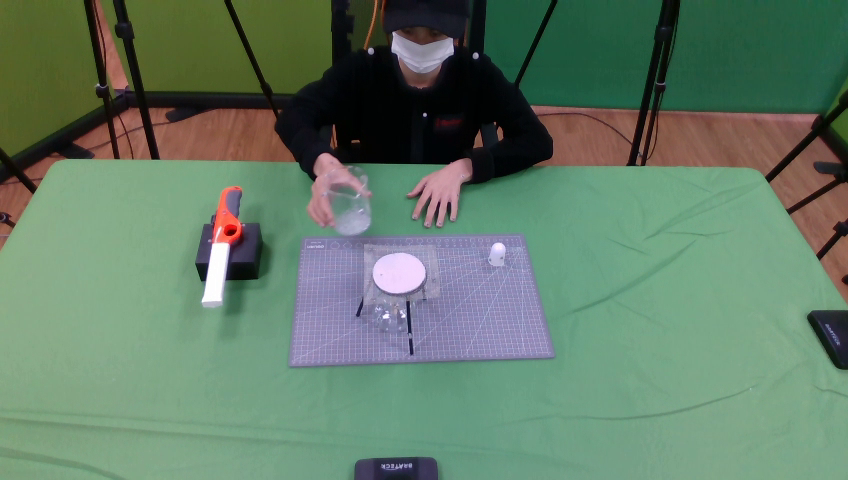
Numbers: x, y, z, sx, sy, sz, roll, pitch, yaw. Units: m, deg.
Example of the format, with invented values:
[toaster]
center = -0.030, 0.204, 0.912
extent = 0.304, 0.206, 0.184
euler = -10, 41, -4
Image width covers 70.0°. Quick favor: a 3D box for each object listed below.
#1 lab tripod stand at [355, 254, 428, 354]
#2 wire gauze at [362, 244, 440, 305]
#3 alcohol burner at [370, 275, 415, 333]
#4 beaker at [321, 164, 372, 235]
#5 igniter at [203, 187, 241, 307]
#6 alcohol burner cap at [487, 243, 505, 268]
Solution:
[lab tripod stand]
center = -0.046, 0.100, 1.016
extent = 0.148, 0.132, 0.147
euler = 1, 47, -1
[wire gauze]
center = -0.038, 0.051, 0.971
extent = 0.121, 0.011, 0.124
euler = -1, 46, -4
[alcohol burner]
center = -0.054, 0.103, 1.026
extent = 0.078, 0.120, 0.077
euler = 2, 44, -1
[beaker]
center = -0.125, -0.063, 1.011
extent = 0.074, 0.101, 0.083
euler = -24, 48, -20
[igniter]
center = -0.365, 0.003, 1.098
extent = 0.057, 0.025, 0.274
euler = -1, 49, -7
[alcohol burner cap]
center = 0.141, 0.027, 1.166
extent = 0.034, 0.048, 0.033
euler = 2, 45, -2
